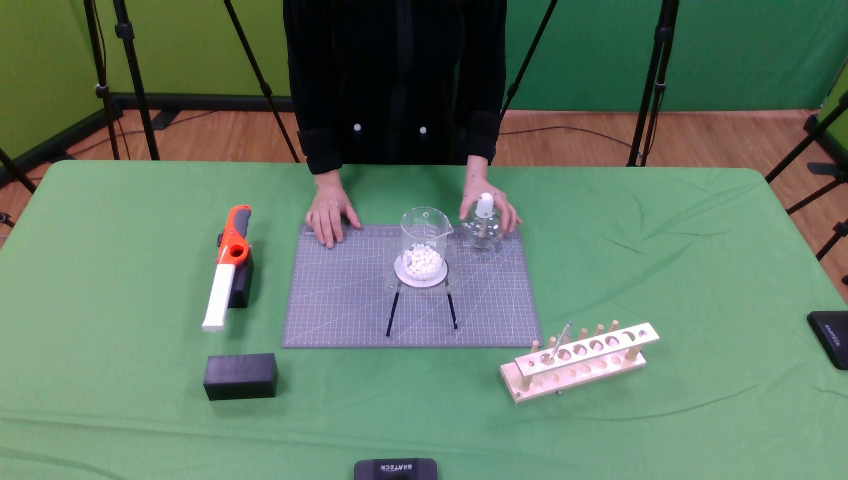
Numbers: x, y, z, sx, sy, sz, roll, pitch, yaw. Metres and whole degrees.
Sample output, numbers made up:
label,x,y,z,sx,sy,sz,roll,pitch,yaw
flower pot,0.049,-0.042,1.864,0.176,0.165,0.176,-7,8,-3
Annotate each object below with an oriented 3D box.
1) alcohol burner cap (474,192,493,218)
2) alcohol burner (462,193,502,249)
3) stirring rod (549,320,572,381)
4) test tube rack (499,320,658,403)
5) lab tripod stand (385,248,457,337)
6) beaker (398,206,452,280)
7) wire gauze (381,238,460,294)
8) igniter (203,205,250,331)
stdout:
label,x,y,z,sx,sy,sz,roll,pitch,yaw
alcohol burner cap,0.113,-0.067,1.126,0.034,0.048,0.033,2,41,-2
alcohol burner,0.111,-0.041,1.152,0.078,0.120,0.077,0,46,0
stirring rod,0.202,0.167,0.901,0.006,0.177,0.014,-17,54,-11
test tube rack,0.252,0.187,0.994,0.243,0.085,0.066,-12,48,-15
lab tripod stand,-0.010,0.087,1.032,0.148,0.132,0.147,1,45,-1
beaker,0.000,0.008,0.950,0.084,0.101,0.073,10,45,6
wire gauze,-0.008,0.042,0.985,0.125,0.011,0.120,-1,43,-2
igniter,-0.345,0.039,1.065,0.057,0.025,0.274,2,48,-6
